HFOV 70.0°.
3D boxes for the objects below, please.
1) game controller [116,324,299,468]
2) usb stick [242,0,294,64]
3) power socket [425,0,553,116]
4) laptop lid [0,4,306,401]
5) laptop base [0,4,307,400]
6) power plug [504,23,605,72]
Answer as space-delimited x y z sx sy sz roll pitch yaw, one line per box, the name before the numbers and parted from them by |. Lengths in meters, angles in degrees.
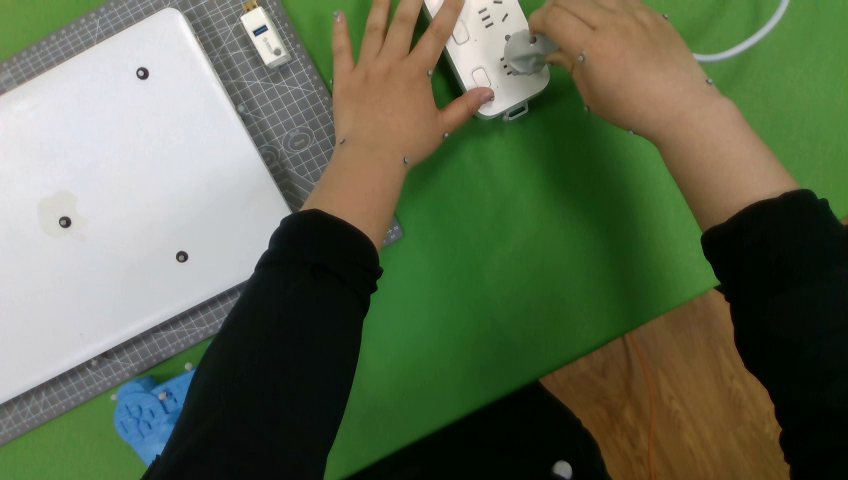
game controller | -0.203 0.144 0.552 0.155 0.051 0.097 -26 92 3
usb stick | -0.136 -0.182 0.515 0.021 0.027 0.059 -27 94 6
power socket | 0.037 -0.213 0.511 0.072 0.032 0.227 -26 97 5
laptop lid | -0.310 -0.021 0.531 0.357 0.013 0.242 -25 99 3
laptop base | -0.311 -0.024 0.542 0.354 0.023 0.236 -27 100 3
power plug | 0.101 -0.151 0.483 0.073 0.052 0.035 2 93 -5
